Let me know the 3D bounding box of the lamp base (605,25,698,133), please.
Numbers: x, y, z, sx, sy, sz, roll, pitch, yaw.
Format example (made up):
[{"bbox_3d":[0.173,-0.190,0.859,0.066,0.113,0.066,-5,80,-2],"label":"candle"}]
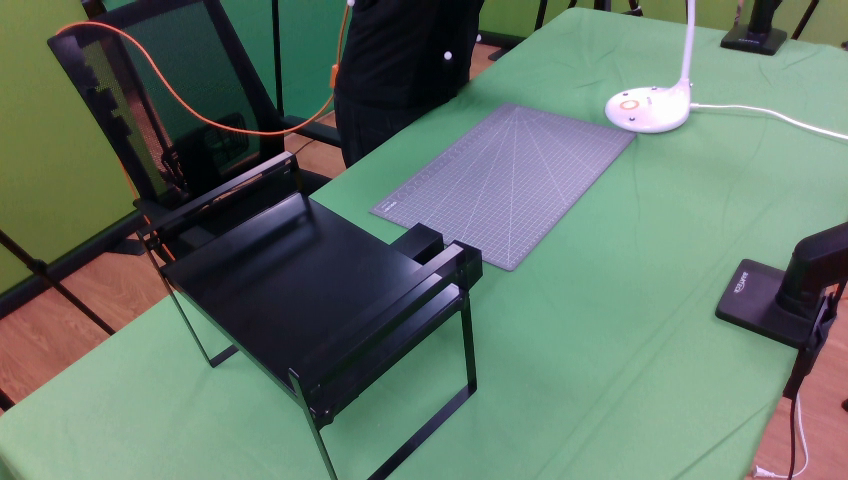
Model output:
[{"bbox_3d":[0.449,-0.321,1.161,0.179,0.181,0.159,-6,41,-2],"label":"lamp base"}]
